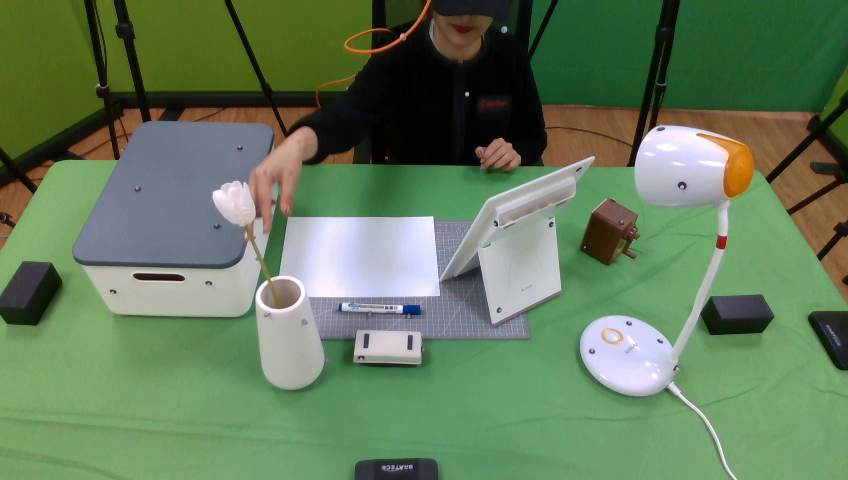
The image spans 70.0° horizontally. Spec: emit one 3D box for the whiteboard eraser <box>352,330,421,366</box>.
[{"bbox_3d":[-0.060,0.180,1.005,0.113,0.042,0.055,3,48,-2],"label":"whiteboard eraser"}]

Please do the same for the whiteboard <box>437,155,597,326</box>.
[{"bbox_3d":[0.180,0.024,1.029,0.217,0.306,0.143,-22,71,-23],"label":"whiteboard"}]

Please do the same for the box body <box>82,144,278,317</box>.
[{"bbox_3d":[-0.421,-0.041,1.108,0.254,0.161,0.361,2,46,-3],"label":"box body"}]

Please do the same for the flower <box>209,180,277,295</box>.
[{"bbox_3d":[-0.217,0.075,0.871,0.044,0.363,0.038,-29,36,-19],"label":"flower"}]

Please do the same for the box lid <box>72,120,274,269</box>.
[{"bbox_3d":[-0.417,-0.094,1.056,0.263,0.015,0.369,1,47,-3],"label":"box lid"}]

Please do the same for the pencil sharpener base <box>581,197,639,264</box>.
[{"bbox_3d":[0.362,-0.016,1.178,0.076,0.107,0.061,35,53,26],"label":"pencil sharpener base"}]

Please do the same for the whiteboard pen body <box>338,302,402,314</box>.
[{"bbox_3d":[-0.083,0.121,1.074,0.141,0.017,0.017,3,46,-2],"label":"whiteboard pen body"}]

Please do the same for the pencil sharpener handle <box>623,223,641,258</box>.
[{"bbox_3d":[0.399,0.003,1.146,0.030,0.068,0.036,35,45,26],"label":"pencil sharpener handle"}]

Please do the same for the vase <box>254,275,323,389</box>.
[{"bbox_3d":[-0.210,0.143,0.921,0.098,0.201,0.097,1,46,-1],"label":"vase"}]

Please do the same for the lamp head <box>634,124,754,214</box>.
[{"bbox_3d":[0.351,-0.089,0.775,0.112,0.113,0.122,-30,30,-28],"label":"lamp head"}]

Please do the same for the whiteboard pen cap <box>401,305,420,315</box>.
[{"bbox_3d":[-0.024,0.123,1.075,0.033,0.018,0.018,1,46,0],"label":"whiteboard pen cap"}]

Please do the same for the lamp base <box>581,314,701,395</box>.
[{"bbox_3d":[0.361,0.145,0.973,0.178,0.181,0.160,34,53,23],"label":"lamp base"}]
